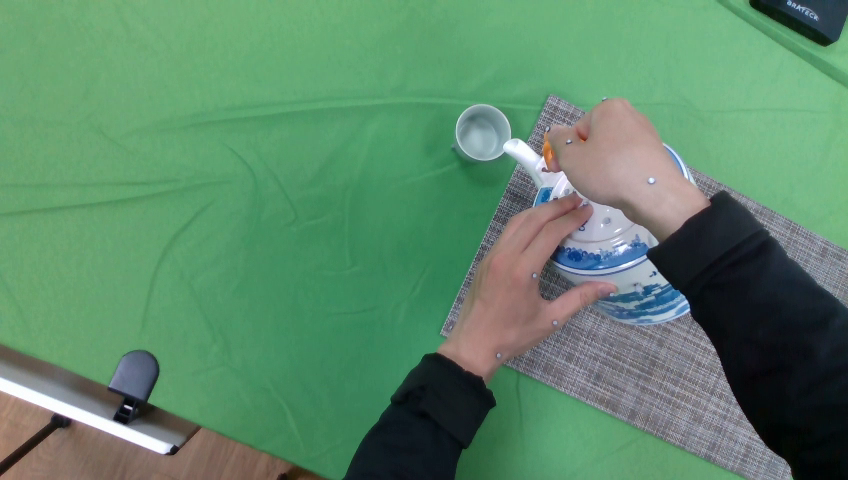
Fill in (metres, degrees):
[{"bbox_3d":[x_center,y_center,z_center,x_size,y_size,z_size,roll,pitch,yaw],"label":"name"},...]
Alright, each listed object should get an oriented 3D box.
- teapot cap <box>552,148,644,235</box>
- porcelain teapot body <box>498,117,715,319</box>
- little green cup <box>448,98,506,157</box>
[{"bbox_3d":[0.148,-0.045,0.524,0.044,0.084,0.085,38,80,-43],"label":"teapot cap"},{"bbox_3d":[0.152,-0.039,0.574,0.145,0.203,0.228,-53,135,0],"label":"porcelain teapot body"},{"bbox_3d":[0.055,-0.120,0.661,0.062,0.038,0.061,1,86,-8],"label":"little green cup"}]
